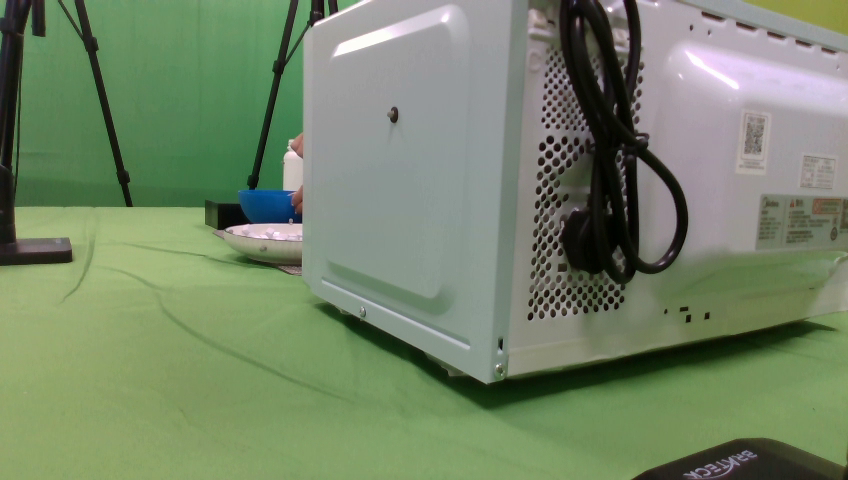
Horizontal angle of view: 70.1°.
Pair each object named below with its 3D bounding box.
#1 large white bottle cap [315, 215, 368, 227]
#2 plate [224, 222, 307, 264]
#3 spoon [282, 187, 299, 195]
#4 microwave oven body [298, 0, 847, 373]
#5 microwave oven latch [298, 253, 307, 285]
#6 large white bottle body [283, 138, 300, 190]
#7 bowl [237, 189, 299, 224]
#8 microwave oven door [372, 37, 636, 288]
[{"bbox_3d":[-0.178,-0.041,1.309,0.115,0.018,0.115,2,6,0],"label":"large white bottle cap"},{"bbox_3d":[-0.171,0.004,0.849,0.209,0.038,0.209,2,7,0],"label":"plate"},{"bbox_3d":[-0.215,-0.102,1.088,0.021,0.042,0.194,3,41,25],"label":"spoon"},{"bbox_3d":[0.151,-0.055,0.542,0.444,0.260,0.324,-2,7,-33],"label":"microwave oven body"},{"bbox_3d":[-0.081,0.027,0.582,0.079,0.029,0.030,-1,7,-32],"label":"microwave oven latch"},{"bbox_3d":[-0.265,-0.144,1.423,0.131,0.184,0.130,2,7,0],"label":"large white bottle body"},{"bbox_3d":[-0.247,-0.046,1.055,0.151,0.077,0.151,3,8,0],"label":"bowl"},{"bbox_3d":[0.110,-0.080,0.686,0.358,0.243,0.039,-2,9,-33],"label":"microwave oven door"}]
